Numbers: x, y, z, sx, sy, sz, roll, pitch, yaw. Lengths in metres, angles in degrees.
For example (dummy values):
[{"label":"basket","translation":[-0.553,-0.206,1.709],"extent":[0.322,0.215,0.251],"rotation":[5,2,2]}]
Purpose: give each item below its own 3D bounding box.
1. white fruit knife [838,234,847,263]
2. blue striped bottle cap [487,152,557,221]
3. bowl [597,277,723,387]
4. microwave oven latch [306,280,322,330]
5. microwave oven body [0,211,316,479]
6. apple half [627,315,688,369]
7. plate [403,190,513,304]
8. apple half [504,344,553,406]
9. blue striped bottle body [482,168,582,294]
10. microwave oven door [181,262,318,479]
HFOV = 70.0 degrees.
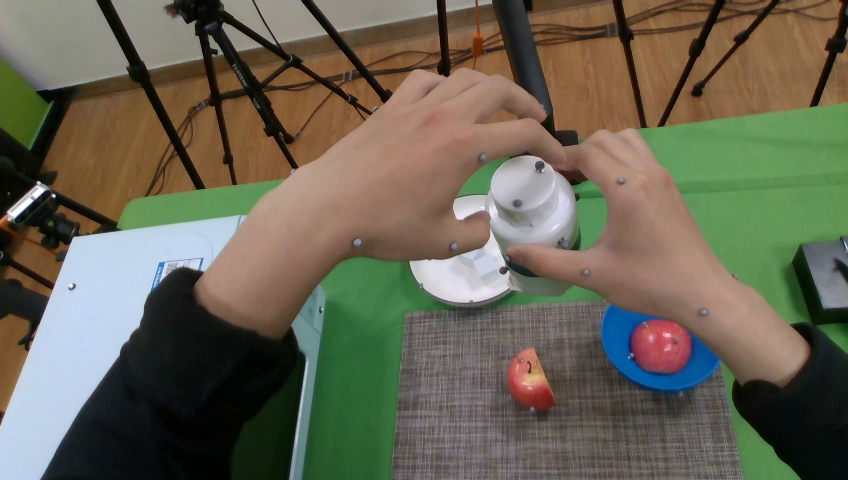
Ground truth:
[{"label":"white fruit knife","translation":[0.557,0.090,0.758],"extent":[0.016,0.027,0.206],"rotation":[-20,71,25]},{"label":"blue striped bottle cap","translation":[0.064,-0.036,0.400],"extent":[0.044,0.021,0.044],"rotation":[-8,61,14]},{"label":"bowl","translation":[0.309,0.133,0.807],"extent":[0.151,0.077,0.150],"rotation":[-8,57,13]},{"label":"microwave oven latch","translation":[-0.183,0.106,0.978],"extent":[0.030,0.030,0.078],"rotation":[-6,58,12]},{"label":"microwave oven body","translation":[-0.356,0.223,0.838],"extent":[0.325,0.263,0.437],"rotation":[-6,58,12]},{"label":"apple half","translation":[0.309,0.131,0.802],"extent":[0.081,0.033,0.080],"rotation":[-8,56,12]},{"label":"plate","translation":[0.070,0.014,0.983],"extent":[0.207,0.039,0.205],"rotation":[-7,57,12]},{"label":"apple half","translation":[0.138,0.190,0.826],"extent":[0.053,0.075,0.080],"rotation":[-24,59,6]},{"label":"blue striped bottle body","translation":[0.080,-0.011,0.443],"extent":[0.063,0.122,0.062],"rotation":[-8,61,15]},{"label":"microwave oven door","translation":[-0.216,0.239,0.781],"extent":[0.039,0.246,0.352],"rotation":[-7,57,13]}]
